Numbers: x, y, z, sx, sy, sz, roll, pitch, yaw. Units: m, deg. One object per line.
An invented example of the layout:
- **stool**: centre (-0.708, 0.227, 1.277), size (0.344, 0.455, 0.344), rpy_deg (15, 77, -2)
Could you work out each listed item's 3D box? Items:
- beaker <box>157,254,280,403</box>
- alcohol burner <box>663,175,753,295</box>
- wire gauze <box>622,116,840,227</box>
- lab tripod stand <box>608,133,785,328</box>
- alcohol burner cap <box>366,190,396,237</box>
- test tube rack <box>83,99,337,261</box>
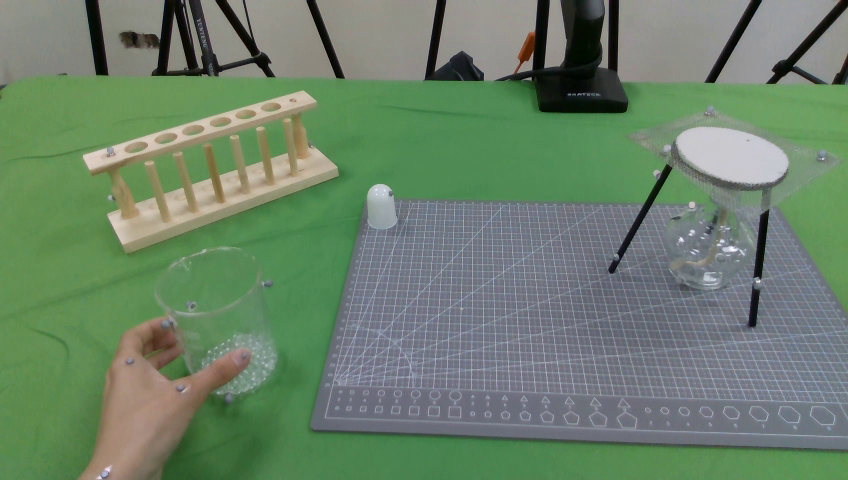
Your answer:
- **beaker**: centre (-0.156, 0.070, 0.471), size (0.083, 0.101, 0.074), rpy_deg (30, 48, 34)
- **alcohol burner**: centre (0.258, -0.009, 0.542), size (0.078, 0.120, 0.077), rpy_deg (0, 41, 1)
- **wire gauze**: centre (0.244, -0.065, 0.488), size (0.122, 0.011, 0.123), rpy_deg (-22, 45, -25)
- **lab tripod stand**: centre (0.250, -0.013, 0.531), size (0.148, 0.132, 0.147), rpy_deg (1, 39, 0)
- **alcohol burner cap**: centre (-0.046, -0.030, 0.634), size (0.034, 0.048, 0.033), rpy_deg (0, 39, 1)
- **test tube rack**: centre (-0.221, -0.072, 0.661), size (0.243, 0.086, 0.066), rpy_deg (-25, 44, -26)
